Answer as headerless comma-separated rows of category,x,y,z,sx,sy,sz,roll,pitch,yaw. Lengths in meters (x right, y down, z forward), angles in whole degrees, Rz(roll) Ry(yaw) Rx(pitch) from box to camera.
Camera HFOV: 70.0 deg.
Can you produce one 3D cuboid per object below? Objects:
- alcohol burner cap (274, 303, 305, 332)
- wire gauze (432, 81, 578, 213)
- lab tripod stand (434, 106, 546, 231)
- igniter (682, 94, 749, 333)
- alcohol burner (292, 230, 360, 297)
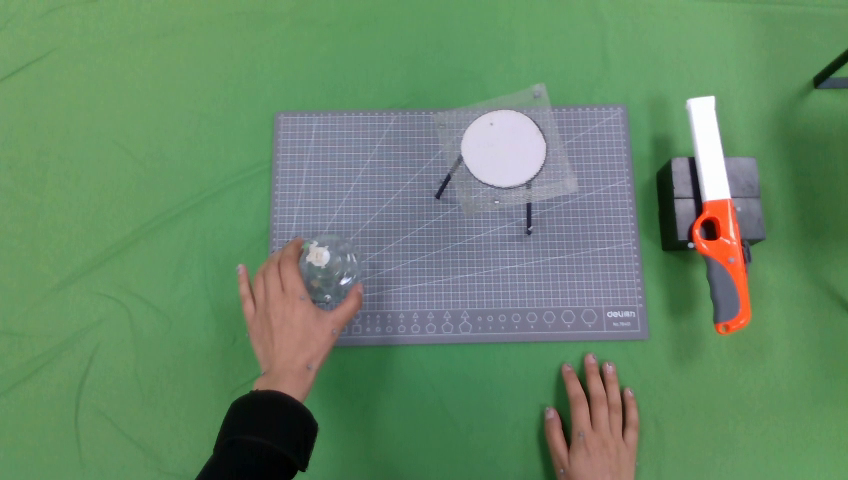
alcohol burner cap,-0.156,0.088,0.695,0.034,0.048,0.033,0,80,-2
wire gauze,0.082,-0.095,0.621,0.125,0.011,0.121,-14,77,-3
lab tripod stand,0.082,-0.086,0.688,0.148,0.132,0.147,0,75,1
igniter,0.327,-0.034,0.685,0.057,0.025,0.275,-5,76,11
alcohol burner,-0.111,0.023,0.673,0.078,0.119,0.077,0,79,-1
